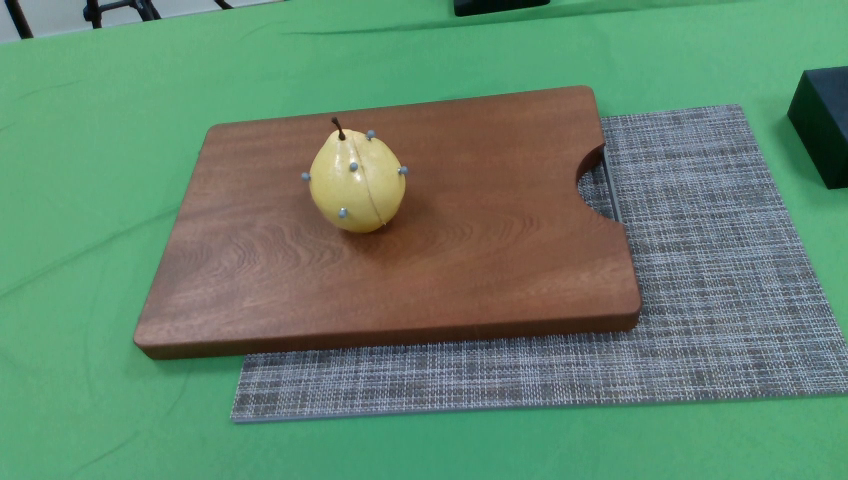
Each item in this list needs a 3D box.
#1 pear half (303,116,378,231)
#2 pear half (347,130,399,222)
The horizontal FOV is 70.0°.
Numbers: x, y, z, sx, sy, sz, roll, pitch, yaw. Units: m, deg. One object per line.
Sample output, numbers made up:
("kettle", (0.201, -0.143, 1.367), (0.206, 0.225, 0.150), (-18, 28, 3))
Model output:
("pear half", (-0.074, -0.055, 0.494), (0.056, 0.111, 0.075), (-18, 47, -3))
("pear half", (-0.039, -0.058, 0.502), (0.031, 0.089, 0.069), (-17, 48, -3))
